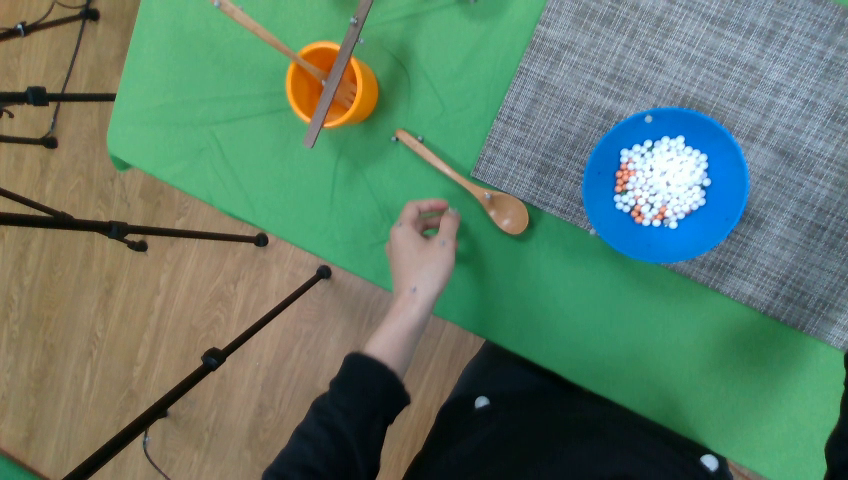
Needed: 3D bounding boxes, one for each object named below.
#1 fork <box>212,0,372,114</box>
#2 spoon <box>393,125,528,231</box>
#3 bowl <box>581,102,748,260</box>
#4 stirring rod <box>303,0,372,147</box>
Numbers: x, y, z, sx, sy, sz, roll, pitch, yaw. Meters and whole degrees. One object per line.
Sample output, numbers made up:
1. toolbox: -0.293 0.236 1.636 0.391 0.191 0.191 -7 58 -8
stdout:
1. fork: -0.140 -0.202 0.660 0.209 0.018 0.028 30 114 -37
2. spoon: 0.040 -0.076 0.699 0.193 0.021 0.042 37 121 6
3. bowl: 0.238 -0.060 0.615 0.151 0.077 0.152 3 100 15
4. stirring rod: -0.093 -0.182 0.648 0.014 0.006 0.176 28 106 8
